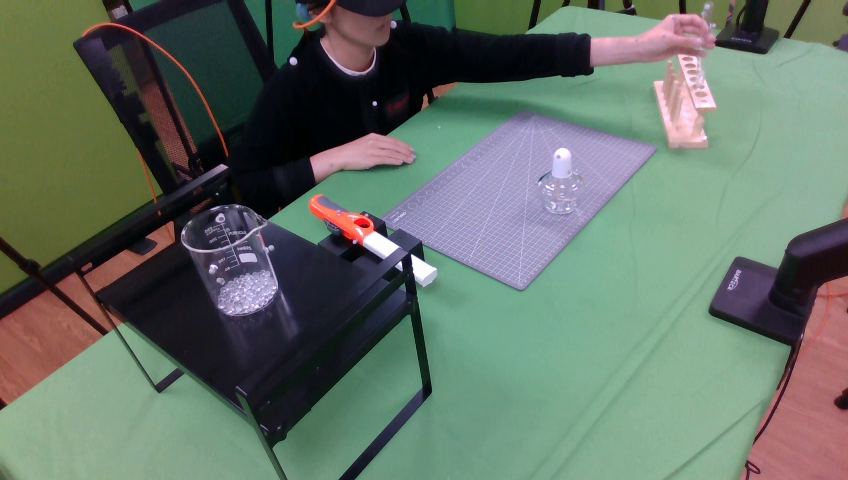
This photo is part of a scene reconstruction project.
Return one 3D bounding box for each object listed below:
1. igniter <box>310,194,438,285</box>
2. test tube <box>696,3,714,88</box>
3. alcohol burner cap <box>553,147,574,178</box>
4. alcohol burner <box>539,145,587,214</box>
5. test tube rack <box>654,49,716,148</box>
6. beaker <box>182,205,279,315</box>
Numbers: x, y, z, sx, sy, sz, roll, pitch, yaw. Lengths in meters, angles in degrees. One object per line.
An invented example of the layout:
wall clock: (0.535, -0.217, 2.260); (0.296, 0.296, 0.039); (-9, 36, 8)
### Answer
igniter: (-0.086, -0.007, 0.921); (0.274, 0.025, 0.057); (31, 51, 34)
test tube: (0.497, -0.341, 1.070); (0.017, 0.151, 0.017); (-7, 36, 6)
alcohol burner cap: (0.224, -0.125, 0.965); (0.034, 0.048, 0.033); (-5, 44, 6)
alcohol burner: (0.226, -0.102, 0.986); (0.078, 0.119, 0.077); (-6, 41, 6)
test tube rack: (0.502, -0.281, 1.176); (0.066, 0.085, 0.241); (2, 41, 11)
beaker: (-0.197, 0.024, 0.641); (0.084, 0.101, 0.073); (-12, 41, -6)
